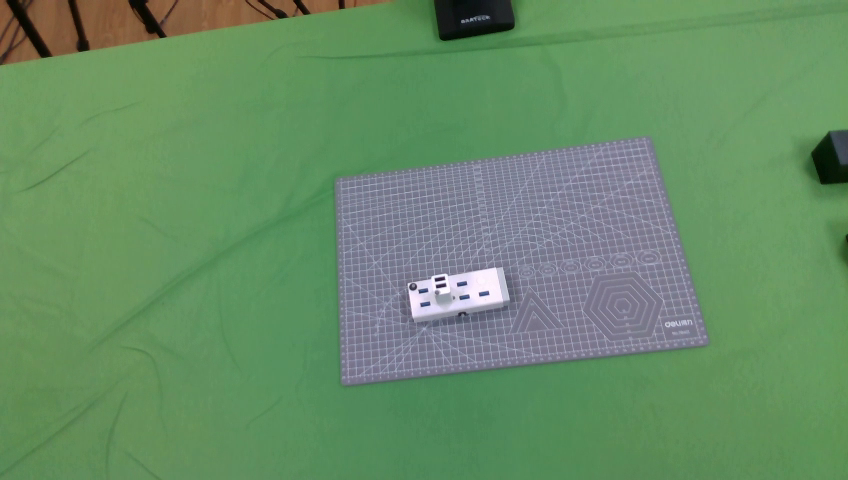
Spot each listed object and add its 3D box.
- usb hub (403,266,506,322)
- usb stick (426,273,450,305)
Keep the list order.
[{"bbox_3d":[0.038,0.068,0.770,0.125,0.025,0.049,-10,65,1],"label":"usb hub"},{"bbox_3d":[0.018,0.063,0.743,0.021,0.059,0.027,-14,63,1],"label":"usb stick"}]
